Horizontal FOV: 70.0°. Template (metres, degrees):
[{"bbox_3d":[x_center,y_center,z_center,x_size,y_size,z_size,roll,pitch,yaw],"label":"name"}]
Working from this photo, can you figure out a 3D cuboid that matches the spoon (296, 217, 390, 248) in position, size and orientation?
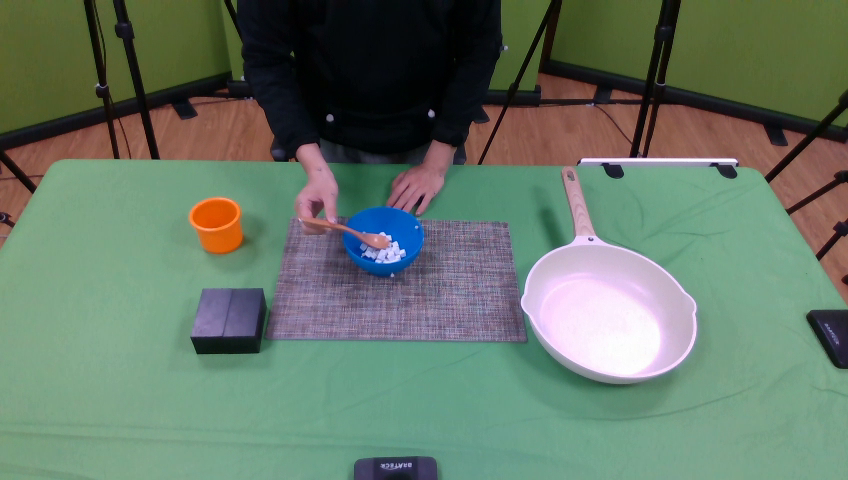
[{"bbox_3d":[-0.142,-0.017,1.084,0.195,0.021,0.041,19,31,-39],"label":"spoon"}]

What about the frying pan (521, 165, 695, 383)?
[{"bbox_3d":[0.312,0.044,1.123,0.307,0.103,0.484,1,55,-5],"label":"frying pan"}]

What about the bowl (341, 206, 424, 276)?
[{"bbox_3d":[-0.079,0.014,1.134,0.151,0.077,0.150,2,46,-2],"label":"bowl"}]
